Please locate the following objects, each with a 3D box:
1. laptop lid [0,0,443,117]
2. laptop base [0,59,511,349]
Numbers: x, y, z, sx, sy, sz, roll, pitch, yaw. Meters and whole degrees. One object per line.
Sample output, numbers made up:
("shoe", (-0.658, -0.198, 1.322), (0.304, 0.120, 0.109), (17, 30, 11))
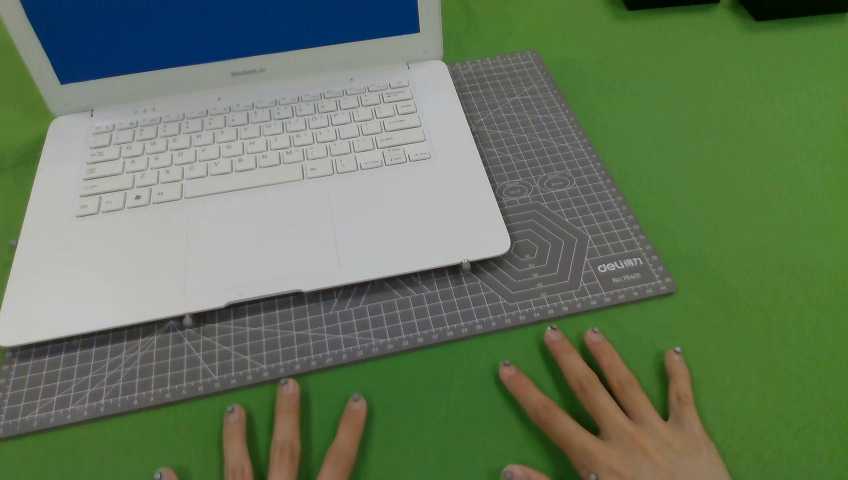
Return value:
("laptop lid", (-0.163, -0.223, 0.479), (0.357, 0.244, 0.013), (-12, 41, -5))
("laptop base", (-0.130, -0.045, 0.484), (0.355, 0.023, 0.233), (-10, 55, -6))
